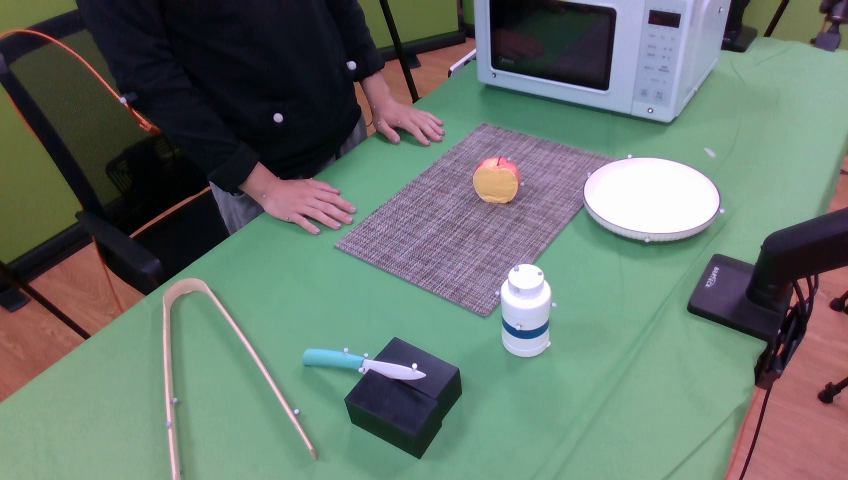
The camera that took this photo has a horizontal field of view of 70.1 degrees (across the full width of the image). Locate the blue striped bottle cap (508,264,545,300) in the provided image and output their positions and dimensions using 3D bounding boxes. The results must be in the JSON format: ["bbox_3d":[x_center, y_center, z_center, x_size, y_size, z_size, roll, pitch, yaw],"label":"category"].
[{"bbox_3d":[0.125,0.051,0.735,0.044,0.021,0.044,-5,39,5],"label":"blue striped bottle cap"}]

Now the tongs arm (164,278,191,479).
[{"bbox_3d":[-0.313,0.182,0.789,0.051,0.026,0.381,-19,41,-14],"label":"tongs arm"}]

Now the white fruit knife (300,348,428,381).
[{"bbox_3d":[-0.079,0.154,0.748,0.206,0.027,0.016,1,20,34],"label":"white fruit knife"}]

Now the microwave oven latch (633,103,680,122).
[{"bbox_3d":[0.444,-0.249,1.157,0.078,0.029,0.030,21,48,30],"label":"microwave oven latch"}]

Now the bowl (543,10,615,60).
[{"bbox_3d":[0.335,-0.439,1.306,0.151,0.077,0.151,-8,30,5],"label":"bowl"}]

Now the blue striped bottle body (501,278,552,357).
[{"bbox_3d":[0.130,0.088,0.769,0.063,0.121,0.063,-4,41,4],"label":"blue striped bottle body"}]

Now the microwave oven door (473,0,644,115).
[{"bbox_3d":[0.257,-0.396,1.199,0.353,0.245,0.039,21,48,29],"label":"microwave oven door"}]

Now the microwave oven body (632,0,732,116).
[{"bbox_3d":[0.377,-0.462,1.267,0.438,0.261,0.327,21,48,30],"label":"microwave oven body"}]

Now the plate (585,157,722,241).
[{"bbox_3d":[0.367,-0.063,0.979,0.207,0.039,0.206,-4,41,4],"label":"plate"}]

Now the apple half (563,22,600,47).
[{"bbox_3d":[0.334,-0.446,1.299,0.081,0.033,0.081,-15,37,12],"label":"apple half"}]

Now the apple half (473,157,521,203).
[{"bbox_3d":[0.128,-0.107,1.030,0.080,0.075,0.053,4,38,19],"label":"apple half"}]

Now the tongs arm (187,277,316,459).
[{"bbox_3d":[-0.241,0.154,0.815,0.028,0.028,0.384,-31,46,-21],"label":"tongs arm"}]
